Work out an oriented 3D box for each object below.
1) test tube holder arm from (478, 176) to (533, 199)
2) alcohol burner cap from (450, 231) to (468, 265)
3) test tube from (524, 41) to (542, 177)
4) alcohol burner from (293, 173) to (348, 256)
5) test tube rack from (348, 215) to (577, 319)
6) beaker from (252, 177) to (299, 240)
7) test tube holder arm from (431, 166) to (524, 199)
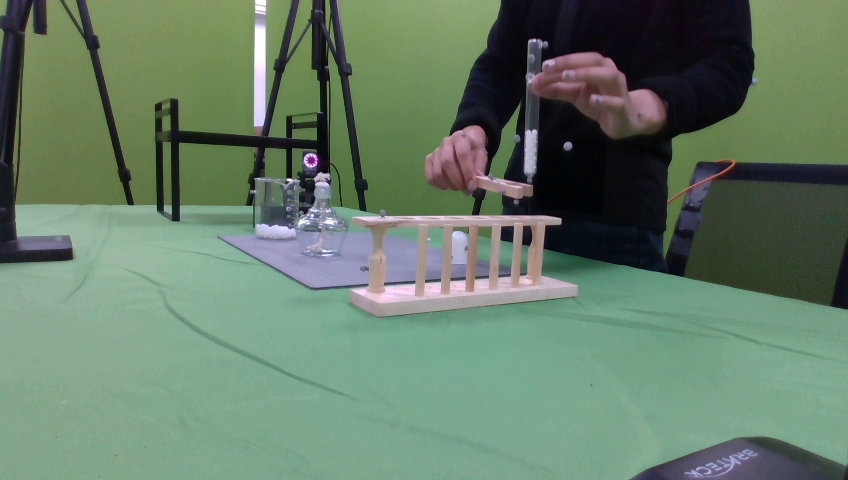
[{"bbox_3d":[0.095,-0.065,0.739,0.010,0.015,0.087,-6,18,-45],"label":"test tube holder arm"},{"bbox_3d":[0.047,0.011,0.838,0.034,0.048,0.034,0,6,0],"label":"alcohol burner cap"},{"bbox_3d":[0.122,-0.146,0.682,0.017,0.150,0.017,1,8,0],"label":"test tube"},{"bbox_3d":[-0.147,-0.036,0.859,0.078,0.119,0.078,4,8,0],"label":"alcohol burner"},{"bbox_3d":[0.048,0.021,0.619,0.244,0.085,0.066,-2,9,-31],"label":"test tube rack"},{"bbox_3d":[-0.245,-0.052,1.005,0.074,0.100,0.083,-3,10,-32],"label":"beaker"},{"bbox_3d":[0.063,-0.075,0.769,0.013,0.015,0.177,-2,15,-36],"label":"test tube holder arm"}]
